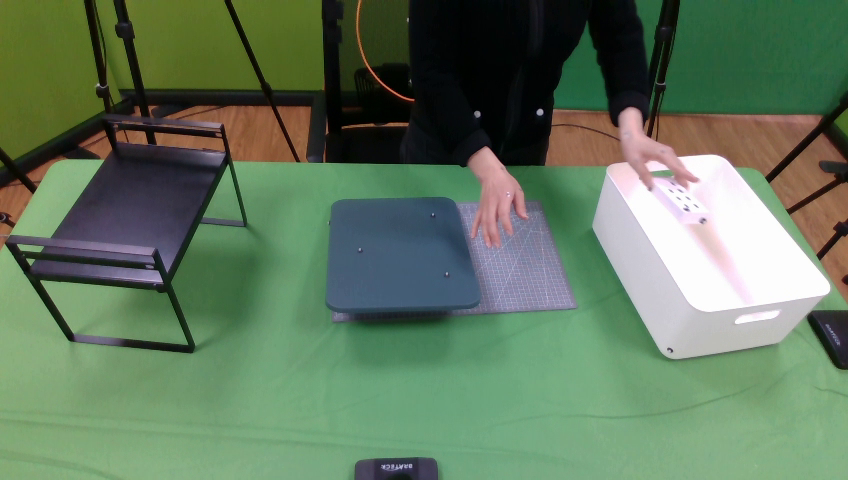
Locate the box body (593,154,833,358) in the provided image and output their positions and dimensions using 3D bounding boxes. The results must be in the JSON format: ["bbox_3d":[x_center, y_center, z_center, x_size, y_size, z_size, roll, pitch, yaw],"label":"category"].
[{"bbox_3d":[0.497,0.023,1.112,0.254,0.161,0.361,-7,47,-10],"label":"box body"}]

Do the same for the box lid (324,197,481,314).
[{"bbox_3d":[-0.048,0.013,1.132,0.263,0.015,0.369,-1,33,-6],"label":"box lid"}]

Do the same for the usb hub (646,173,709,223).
[{"bbox_3d":[0.437,-0.074,1.051,0.049,0.025,0.124,0,37,-14],"label":"usb hub"}]
